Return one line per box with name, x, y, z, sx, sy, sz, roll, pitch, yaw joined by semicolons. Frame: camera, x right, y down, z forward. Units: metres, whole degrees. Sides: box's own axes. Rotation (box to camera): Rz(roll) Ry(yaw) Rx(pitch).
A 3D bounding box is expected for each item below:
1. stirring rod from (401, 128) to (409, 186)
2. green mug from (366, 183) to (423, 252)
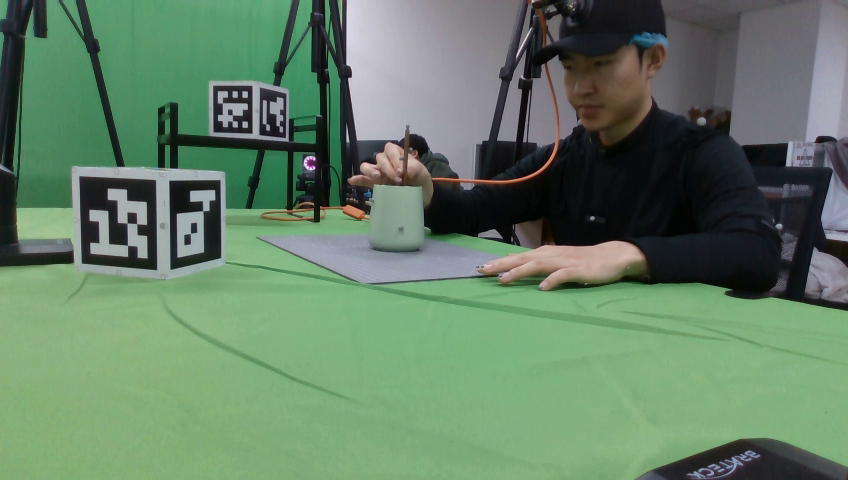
stirring rod;-0.033;-0.089;0.956;0.006;0.176;0.014;2;5;-19
green mug;-0.054;-0.039;0.989;0.093;0.105;0.124;-1;8;-30
